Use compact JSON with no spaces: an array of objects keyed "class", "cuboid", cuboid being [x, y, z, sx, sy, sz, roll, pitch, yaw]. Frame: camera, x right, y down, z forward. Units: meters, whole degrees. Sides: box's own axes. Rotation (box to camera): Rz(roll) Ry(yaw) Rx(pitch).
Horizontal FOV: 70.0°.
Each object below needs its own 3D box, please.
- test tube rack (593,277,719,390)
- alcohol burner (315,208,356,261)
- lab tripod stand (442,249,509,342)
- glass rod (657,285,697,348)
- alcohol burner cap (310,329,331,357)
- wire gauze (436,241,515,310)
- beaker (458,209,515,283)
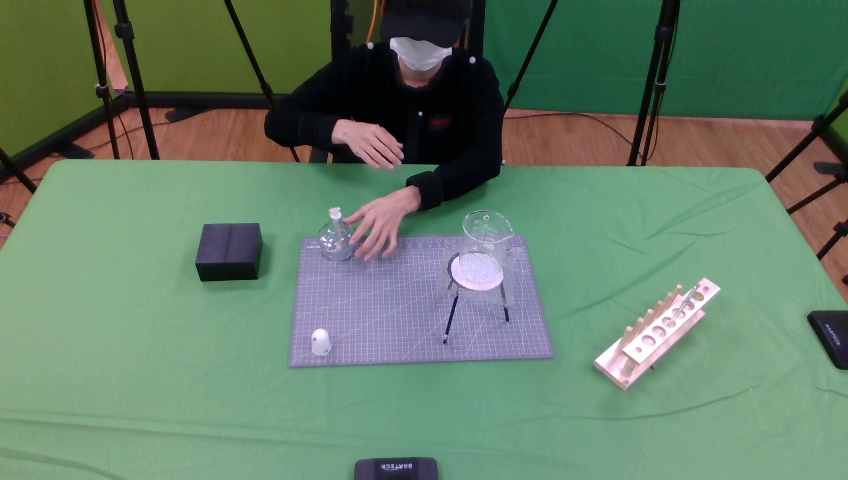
[{"class":"test tube rack","cuboid":[0.401,0.148,1.043,0.242,0.085,0.066,-30,55,-29]},{"class":"alcohol burner","cuboid":[-0.166,-0.017,1.135,0.078,0.119,0.077,2,48,-2]},{"class":"lab tripod stand","cuboid":[0.082,0.091,1.036,0.148,0.132,0.147,3,44,-3]},{"class":"glass rod","cuboid":[0.401,0.128,0.971,0.008,0.201,0.008,0,53,1]},{"class":"alcohol burner cap","cuboid":[-0.173,0.168,1.004,0.034,0.048,0.033,2,46,-2]},{"class":"wire gauze","cuboid":[0.086,0.052,0.982,0.125,0.011,0.121,11,47,2]},{"class":"beaker","cuboid":[0.094,0.013,0.952,0.084,0.101,0.073,12,46,7]}]
